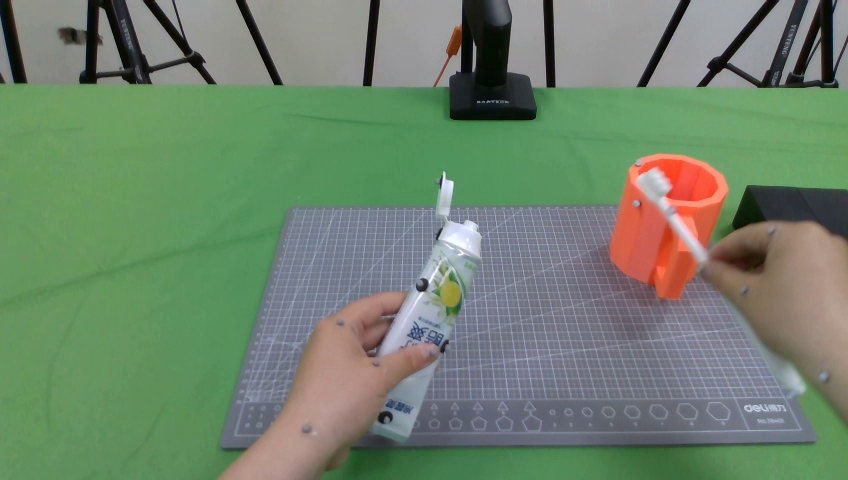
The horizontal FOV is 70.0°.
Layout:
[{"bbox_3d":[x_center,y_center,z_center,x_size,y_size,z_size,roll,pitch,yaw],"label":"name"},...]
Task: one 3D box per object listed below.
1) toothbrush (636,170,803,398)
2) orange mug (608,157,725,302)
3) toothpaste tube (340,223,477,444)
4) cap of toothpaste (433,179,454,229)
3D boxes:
[{"bbox_3d":[0.204,0.027,0.419,0.014,0.017,0.181,-22,75,-34],"label":"toothbrush"},{"bbox_3d":[0.226,-0.006,0.567,0.083,0.101,0.125,5,36,7],"label":"orange mug"},{"bbox_3d":[-0.003,0.062,0.434,0.055,0.165,0.034,25,-4,-15],"label":"toothpaste tube"},{"bbox_3d":[0.015,-0.026,0.442,0.011,0.037,0.037,10,41,7],"label":"cap of toothpaste"}]
